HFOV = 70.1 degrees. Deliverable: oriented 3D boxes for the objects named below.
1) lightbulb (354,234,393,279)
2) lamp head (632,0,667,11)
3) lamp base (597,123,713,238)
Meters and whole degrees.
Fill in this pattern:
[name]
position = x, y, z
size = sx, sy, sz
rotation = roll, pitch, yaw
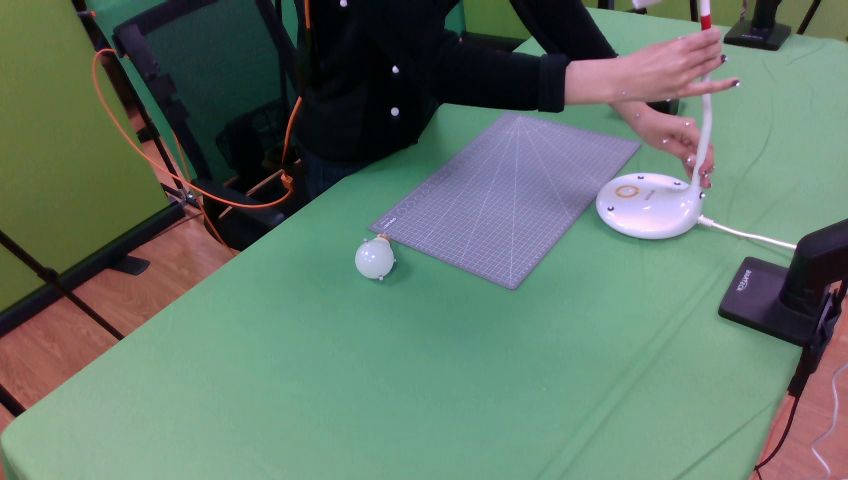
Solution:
[lightbulb]
position = -0.074, 0.020, 0.952
size = 0.059, 0.060, 0.107
rotation = -2, 25, 9
[lamp head]
position = 0.296, -0.335, 0.703
size = 0.122, 0.113, 0.112
rotation = -8, 40, 12
[lamp base]
position = 0.364, -0.112, 0.922
size = 0.178, 0.181, 0.161
rotation = 18, 48, 23
